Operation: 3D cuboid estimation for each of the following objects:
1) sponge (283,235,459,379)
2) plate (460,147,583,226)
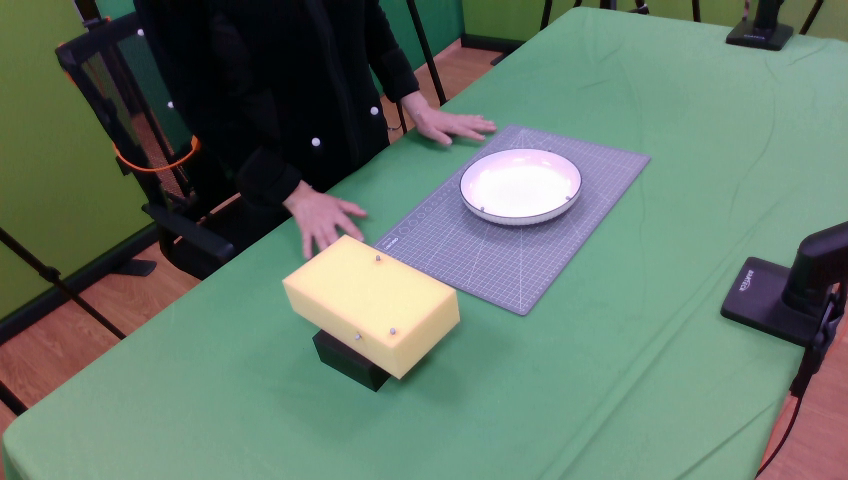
[{"bbox_3d":[-0.071,0.081,0.798,0.205,0.061,0.118,25,51,34],"label":"sponge"},{"bbox_3d":[0.166,-0.089,1.043,0.209,0.038,0.208,-5,40,5],"label":"plate"}]
